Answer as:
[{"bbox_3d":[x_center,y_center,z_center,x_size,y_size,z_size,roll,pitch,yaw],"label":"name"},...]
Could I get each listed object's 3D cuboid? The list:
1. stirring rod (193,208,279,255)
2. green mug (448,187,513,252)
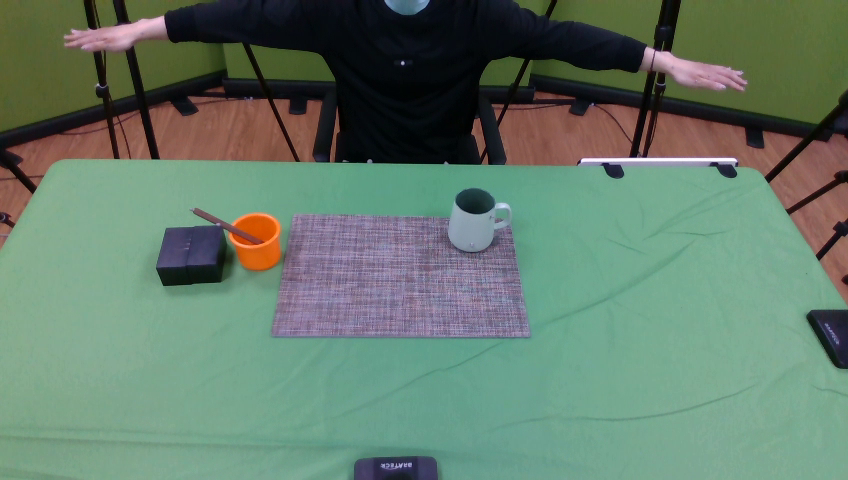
[{"bbox_3d":[-0.340,-0.014,1.107,0.177,0.006,0.014,32,29,-34],"label":"stirring rod"},{"bbox_3d":[0.112,-0.041,1.180,0.125,0.105,0.092,-8,47,-11],"label":"green mug"}]
